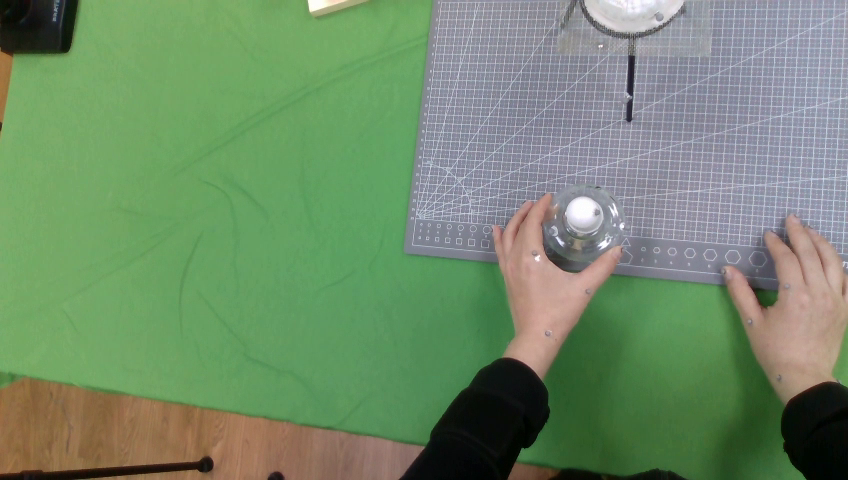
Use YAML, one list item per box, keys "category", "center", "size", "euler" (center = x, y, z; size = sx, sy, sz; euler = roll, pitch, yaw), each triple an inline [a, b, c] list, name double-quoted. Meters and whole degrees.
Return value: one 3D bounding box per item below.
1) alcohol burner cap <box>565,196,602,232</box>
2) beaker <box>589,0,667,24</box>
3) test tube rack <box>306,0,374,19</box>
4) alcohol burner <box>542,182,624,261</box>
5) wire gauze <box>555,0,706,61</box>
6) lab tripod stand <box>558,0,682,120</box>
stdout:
- category: "alcohol burner cap"
  center: [0.140, -0.025, 0.537]
  size: [0.034, 0.048, 0.034]
  euler: [-1, 86, 17]
- category: "beaker"
  center: [0.159, -0.220, 0.468]
  size: [0.083, 0.101, 0.074]
  euler: [19, 89, 16]
- category: "test tube rack"
  center: [-0.037, -0.331, 0.679]
  size: [0.242, 0.085, 0.066]
  euler: [-12, 80, 13]
- category: "alcohol burner"
  center: [0.150, -0.020, 0.572]
  size: [0.078, 0.119, 0.077]
  euler: [-1, 83, 13]
- category: "wire gauze"
  center: [0.176, -0.213, 0.513]
  size: [0.125, 0.011, 0.121]
  euler: [5, 88, 12]
- category: "lab tripod stand"
  center: [0.193, -0.205, 0.577]
  size: [0.148, 0.132, 0.148]
  euler: [-1, 84, 13]
